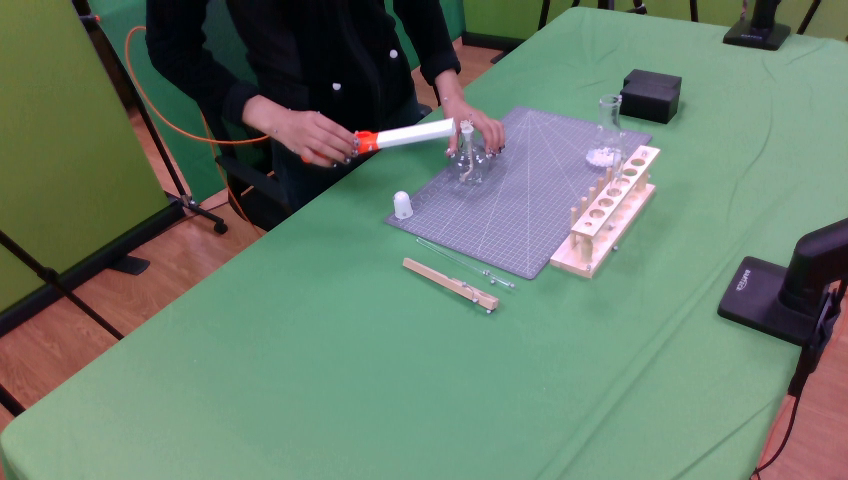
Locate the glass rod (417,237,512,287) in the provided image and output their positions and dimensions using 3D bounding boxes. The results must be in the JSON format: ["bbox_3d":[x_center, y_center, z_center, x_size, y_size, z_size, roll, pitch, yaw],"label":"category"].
[{"bbox_3d":[0.058,0.032,0.944,0.198,0.008,0.008,26,52,37],"label":"glass rod"}]

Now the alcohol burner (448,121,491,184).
[{"bbox_3d":[0.081,-0.160,1.083,0.078,0.119,0.077,-4,40,4],"label":"alcohol burner"}]

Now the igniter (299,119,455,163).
[{"bbox_3d":[-0.083,-0.160,0.987,0.275,0.025,0.057,-7,43,18],"label":"igniter"}]

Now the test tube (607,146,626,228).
[{"bbox_3d":[0.283,-0.074,0.892,0.017,0.151,0.017,-5,44,6],"label":"test tube"}]

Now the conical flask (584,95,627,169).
[{"bbox_3d":[0.323,-0.192,1.066,0.075,0.122,0.075,-6,40,5],"label":"conical flask"}]

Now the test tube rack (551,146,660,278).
[{"bbox_3d":[0.286,-0.053,0.943,0.066,0.085,0.243,21,49,32],"label":"test tube rack"}]

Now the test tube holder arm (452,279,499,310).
[{"bbox_3d":[0.071,0.078,0.883,0.087,0.015,0.010,23,16,34],"label":"test tube holder arm"}]

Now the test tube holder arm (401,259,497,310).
[{"bbox_3d":[0.034,0.064,0.903,0.177,0.015,0.013,23,16,33],"label":"test tube holder arm"}]

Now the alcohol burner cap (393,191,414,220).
[{"bbox_3d":[-0.037,-0.062,1.045,0.034,0.048,0.033,-5,41,5],"label":"alcohol burner cap"}]
